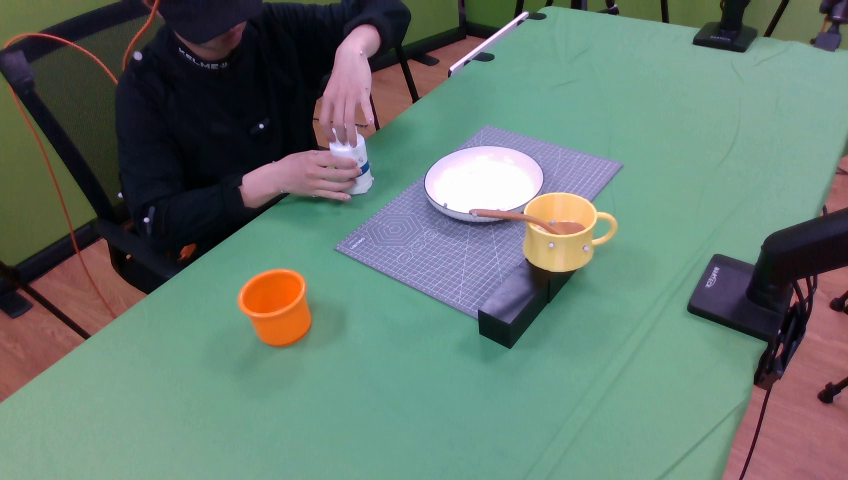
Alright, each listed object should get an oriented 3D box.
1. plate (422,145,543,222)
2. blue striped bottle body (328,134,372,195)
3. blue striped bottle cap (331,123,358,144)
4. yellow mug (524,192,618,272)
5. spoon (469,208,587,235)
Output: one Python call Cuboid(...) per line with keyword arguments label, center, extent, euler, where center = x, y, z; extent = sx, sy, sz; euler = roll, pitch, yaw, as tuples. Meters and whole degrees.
Cuboid(label="plate", center=(0.101, -0.094, 1.048), extent=(0.207, 0.039, 0.206), euler=(-4, 41, 4))
Cuboid(label="blue striped bottle body", center=(-0.134, -0.145, 1.082), extent=(0.063, 0.121, 0.063), euler=(-4, 41, 4))
Cuboid(label="blue striped bottle cap", center=(-0.138, -0.184, 1.049), extent=(0.044, 0.021, 0.044), euler=(-5, 42, 5))
Cuboid(label="yellow mug", center=(0.206, -0.014, 0.845), extent=(0.131, 0.064, 0.099), euler=(-4, 41, 2))
Cuboid(label="spoon", center=(0.143, -0.026, 0.817), extent=(0.195, 0.021, 0.041), euler=(12, 34, -29))
